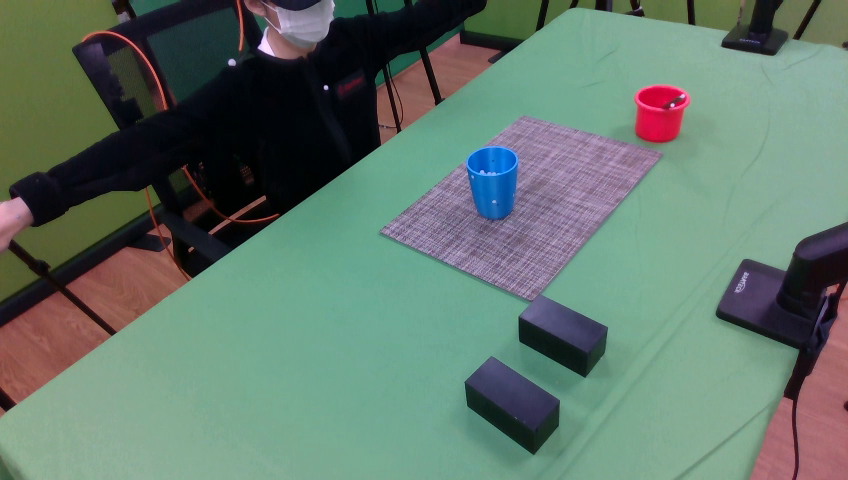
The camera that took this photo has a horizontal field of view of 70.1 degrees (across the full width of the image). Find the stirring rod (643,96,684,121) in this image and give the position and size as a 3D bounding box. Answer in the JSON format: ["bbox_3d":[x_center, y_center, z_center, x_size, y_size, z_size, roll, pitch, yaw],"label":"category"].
[{"bbox_3d":[0.433,-0.238,1.100,0.014,0.006,0.176,-1,-1,2],"label":"stirring rod"}]

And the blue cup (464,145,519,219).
[{"bbox_3d":[0.115,-0.090,0.996,0.092,0.101,0.092,-5,41,5],"label":"blue cup"}]
